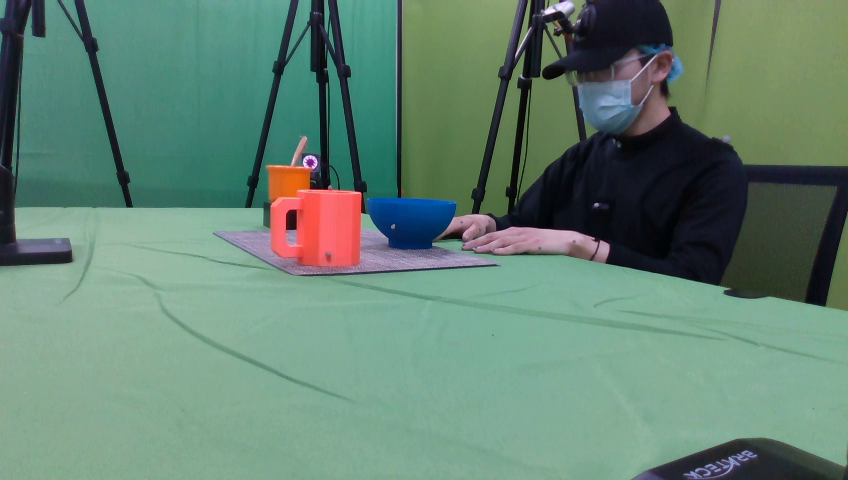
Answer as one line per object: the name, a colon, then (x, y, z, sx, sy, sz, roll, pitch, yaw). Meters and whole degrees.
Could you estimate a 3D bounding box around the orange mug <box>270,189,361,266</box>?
orange mug: (-0.142, -0.019, 0.796, 0.127, 0.100, 0.083, 2, 5, -39)

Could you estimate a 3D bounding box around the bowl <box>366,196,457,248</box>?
bowl: (-0.022, -0.030, 1.001, 0.151, 0.077, 0.151, 2, 7, 0)

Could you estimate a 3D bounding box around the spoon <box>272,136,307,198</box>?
spoon: (-0.269, -0.152, 1.242, 0.041, 0.193, 0.022, 1, -37, 12)
